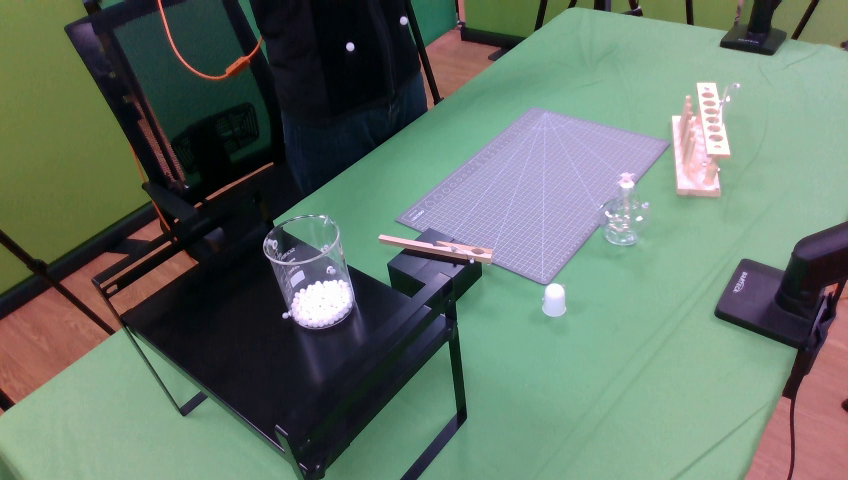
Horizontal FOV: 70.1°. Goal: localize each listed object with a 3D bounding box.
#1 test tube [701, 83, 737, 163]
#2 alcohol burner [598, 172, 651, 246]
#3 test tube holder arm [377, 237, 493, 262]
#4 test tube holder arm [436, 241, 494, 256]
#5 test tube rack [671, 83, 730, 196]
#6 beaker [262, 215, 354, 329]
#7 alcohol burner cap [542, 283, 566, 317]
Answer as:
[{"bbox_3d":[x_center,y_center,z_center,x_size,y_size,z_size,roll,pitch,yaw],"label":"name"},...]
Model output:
[{"bbox_3d":[0.485,-0.190,0.997,0.017,0.151,0.017,-1,44,2],"label":"test tube"},{"bbox_3d":[0.306,-0.051,0.918,0.078,0.119,0.077,-5,41,5],"label":"alcohol burner"},{"bbox_3d":[0.014,0.013,0.888,0.177,0.015,0.013,6,45,17],"label":"test tube holder arm"},{"bbox_3d":[0.058,0.015,0.878,0.087,0.015,0.010,8,45,19],"label":"test tube holder arm"},{"bbox_3d":[0.482,-0.184,1.067,0.066,0.085,0.242,5,42,15],"label":"test tube rack"},{"bbox_3d":[-0.112,0.034,0.616,0.073,0.101,0.084,13,44,23],"label":"beaker"},{"bbox_3d":[0.181,0.080,0.839,0.034,0.048,0.033,-4,40,4],"label":"alcohol burner cap"}]
